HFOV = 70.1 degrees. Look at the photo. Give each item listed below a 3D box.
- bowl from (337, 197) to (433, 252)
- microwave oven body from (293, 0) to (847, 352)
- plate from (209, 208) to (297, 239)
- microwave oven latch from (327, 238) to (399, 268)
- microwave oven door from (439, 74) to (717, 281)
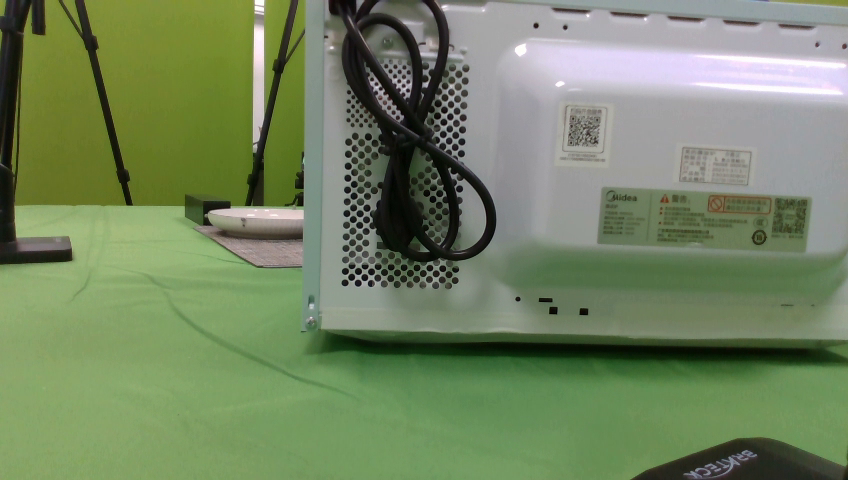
[{"bbox_3d":[-0.062,-0.024,0.955,0.151,0.077,0.151,3,7,0],"label":"bowl"},{"bbox_3d":[0.122,-0.055,0.550,0.442,0.260,0.325,3,7,-5],"label":"microwave oven body"},{"bbox_3d":[-0.271,-0.029,1.074,0.208,0.039,0.207,3,7,0],"label":"plate"},{"bbox_3d":[-0.069,0.015,0.694,0.079,0.029,0.030,3,7,-3],"label":"microwave oven latch"},{"bbox_3d":[0.183,-0.089,0.801,0.354,0.243,0.039,7,9,32],"label":"microwave oven door"}]
